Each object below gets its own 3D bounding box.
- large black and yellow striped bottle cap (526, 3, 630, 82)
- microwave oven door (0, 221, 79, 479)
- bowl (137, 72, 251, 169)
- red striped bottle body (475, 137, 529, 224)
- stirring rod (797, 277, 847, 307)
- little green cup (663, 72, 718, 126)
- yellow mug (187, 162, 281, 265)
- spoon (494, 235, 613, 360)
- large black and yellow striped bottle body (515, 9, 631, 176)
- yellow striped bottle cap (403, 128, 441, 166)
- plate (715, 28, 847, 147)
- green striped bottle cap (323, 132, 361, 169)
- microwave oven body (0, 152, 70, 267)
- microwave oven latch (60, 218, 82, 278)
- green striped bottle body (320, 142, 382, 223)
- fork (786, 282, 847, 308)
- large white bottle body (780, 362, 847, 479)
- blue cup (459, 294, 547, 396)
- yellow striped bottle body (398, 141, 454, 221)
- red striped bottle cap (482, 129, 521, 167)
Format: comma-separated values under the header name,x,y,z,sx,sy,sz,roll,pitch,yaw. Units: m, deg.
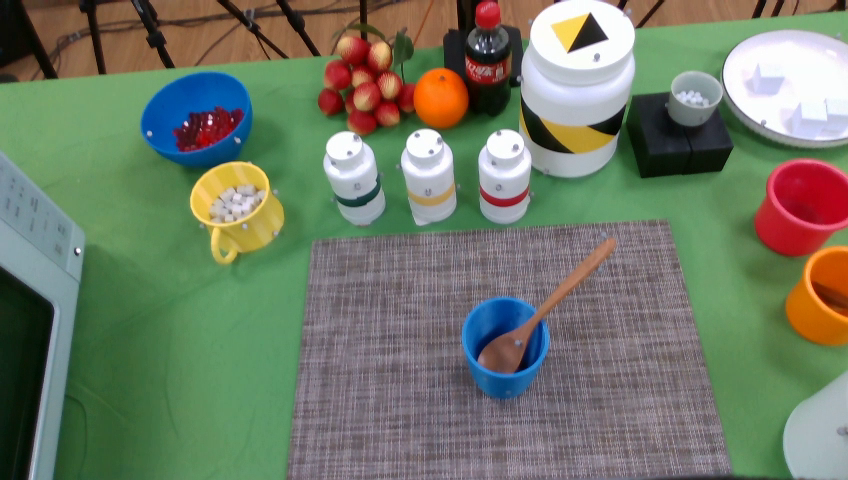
name,x,y,z,sx,sy,sz,roll,pitch,yaw
large black and yellow striped bottle cap,0.173,-0.225,0.683,0.115,0.019,0.114,-3,57,5
microwave oven door,-0.428,0.140,0.567,0.039,0.246,0.352,-12,58,-1
bowl,-0.308,-0.154,0.850,0.151,0.077,0.150,-2,59,4
red striped bottle body,0.096,-0.077,0.738,0.063,0.121,0.062,-5,56,8
stirring rod,0.433,0.067,0.603,0.014,0.006,0.175,-10,15,0
little green cup,0.332,-0.176,0.761,0.061,0.039,0.061,-2,57,3
yellow mug,-0.246,-0.029,0.775,0.100,0.064,0.130,6,60,8
spoon,0.115,0.068,0.588,0.194,0.022,0.041,-53,54,25
large black and yellow striped bottle body,0.181,-0.182,0.755,0.131,0.185,0.129,-3,58,5
yellow striped bottle cap,-0.002,-0.109,0.705,0.044,0.019,0.044,-2,60,4
plate,0.500,-0.203,0.821,0.209,0.038,0.207,-2,59,4
green striped bottle cap,-0.097,-0.106,0.713,0.044,0.020,0.044,-2,57,4
microwave oven body,-0.579,0.137,0.590,0.326,0.262,0.437,-11,59,-2
microwave oven latch,-0.455,0.012,0.768,0.030,0.030,0.078,-11,59,-2
green striped bottle body,-0.091,-0.079,0.758,0.063,0.120,0.062,-3,58,4
fork,0.461,0.065,0.595,0.028,0.019,0.206,-34,17,-20
large white bottle body,0.408,0.163,0.520,0.130,0.186,0.129,-3,58,5
blue cup,0.079,0.117,0.627,0.092,0.101,0.092,-2,57,3
yellow striped bottle body,0.003,-0.081,0.749,0.063,0.121,0.062,-3,58,5
red striped bottle cap,0.089,-0.106,0.693,0.044,0.018,0.044,0,57,1
